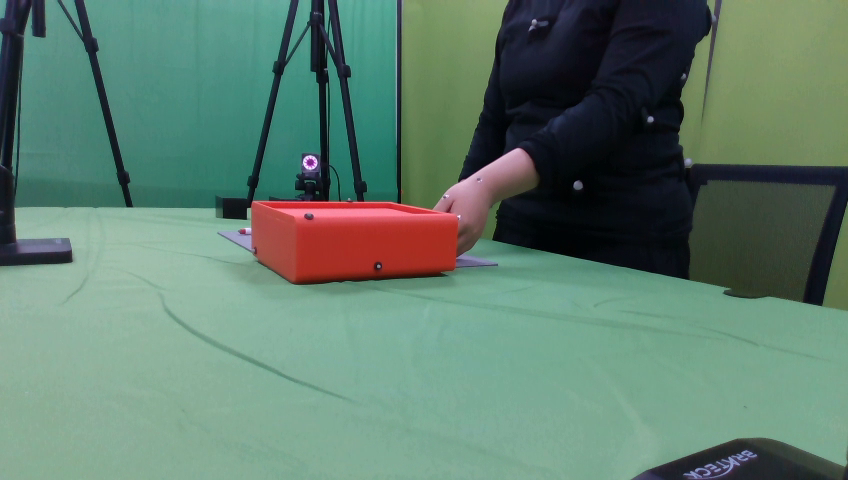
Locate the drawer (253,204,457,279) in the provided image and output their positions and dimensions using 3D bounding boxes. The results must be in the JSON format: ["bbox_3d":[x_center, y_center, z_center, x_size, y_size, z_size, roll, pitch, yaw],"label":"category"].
[{"bbox_3d":[-0.095,-0.004,0.790,0.213,0.073,0.193,-3,10,-30],"label":"drawer"}]

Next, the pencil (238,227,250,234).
[{"bbox_3d":[-0.240,-0.015,1.104,0.195,0.012,0.012,1,7,-29],"label":"pencil"}]

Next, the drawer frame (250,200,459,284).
[{"bbox_3d":[-0.095,-0.005,0.788,0.215,0.082,0.200,-3,10,-30],"label":"drawer frame"}]
